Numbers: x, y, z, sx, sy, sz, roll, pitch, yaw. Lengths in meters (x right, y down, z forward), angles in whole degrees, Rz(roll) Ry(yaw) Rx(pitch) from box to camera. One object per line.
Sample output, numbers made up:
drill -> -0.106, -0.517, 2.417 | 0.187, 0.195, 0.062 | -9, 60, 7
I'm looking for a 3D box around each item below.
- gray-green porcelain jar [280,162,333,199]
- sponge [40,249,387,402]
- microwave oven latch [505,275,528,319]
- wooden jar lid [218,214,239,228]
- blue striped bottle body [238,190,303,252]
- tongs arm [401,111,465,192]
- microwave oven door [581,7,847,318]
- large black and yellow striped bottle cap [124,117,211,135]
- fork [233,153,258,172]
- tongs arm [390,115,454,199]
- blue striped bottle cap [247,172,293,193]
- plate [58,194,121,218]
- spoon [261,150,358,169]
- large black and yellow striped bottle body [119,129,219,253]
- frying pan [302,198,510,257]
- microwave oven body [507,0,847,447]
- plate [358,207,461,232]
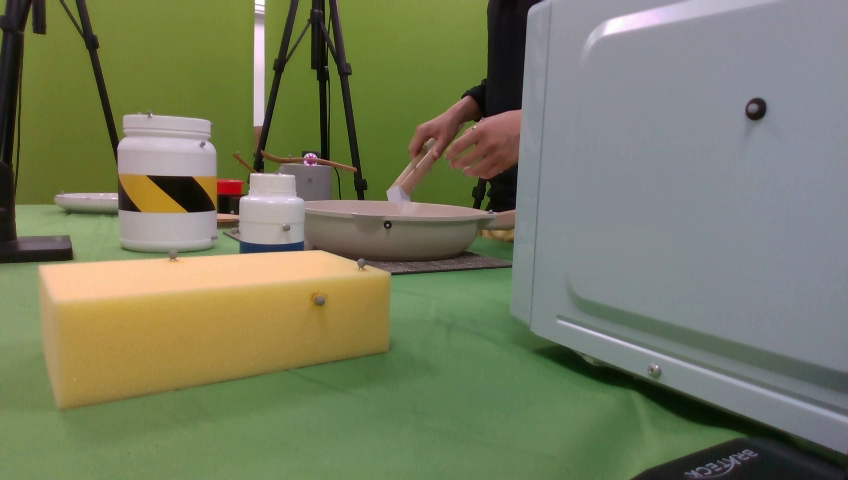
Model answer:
gray-green porcelain jar -> -0.238, -0.092, 1.221 | 0.106, 0.126, 0.106 | 2, 7, 0
sponge -> -0.142, 0.047, 0.420 | 0.208, 0.061, 0.117 | -3, 8, -36
microwave oven latch -> 0.100, 0.041, 0.471 | 0.079, 0.029, 0.030 | -1, 7, -28
wooden jar lid -> -0.404, -0.037, 1.169 | 0.108, 0.020, 0.108 | 3, 7, 0
blue striped bottle body -> -0.153, -0.007, 0.606 | 0.063, 0.120, 0.063 | 2, 8, 0
tongs arm -> 0.020, -0.200, 1.316 | 0.050, 0.026, 0.385 | -28, 18, 38
microwave oven door -> 0.295, -0.067, 0.570 | 0.358, 0.243, 0.039 | -3, 9, -31
large black and yellow striped bottle cap -> -0.366, -0.163, 0.866 | 0.115, 0.019, 0.115 | 3, 7, 0
fork -> -0.396, -0.144, 1.486 | 0.028, 0.018, 0.208 | 20, -26, 45
tongs arm -> 0.004, -0.191, 1.328 | 0.028, 0.028, 0.388 | -34, 15, 35
blue striped bottle cap -> -0.152, -0.057, 0.598 | 0.044, 0.020, 0.044 | 3, 7, 0
plate -> -0.671, -0.074, 1.310 | 0.209, 0.038, 0.209 | 2, 8, 0
spoon -> -0.229, -0.162, 1.222 | 0.194, 0.021, 0.041 | 3, 3, -16
large black and yellow striped bottle body -> -0.367, -0.080, 0.876 | 0.131, 0.184, 0.130 | 1, 7, 0
frying pan -> 0.050, -0.035, 0.916 | 0.487, 0.102, 0.307 | -5, 7, 10
microwave oven body -> 0.331, -0.042, 0.425 | 0.444, 0.260, 0.324 | -2, 8, -31
plate -> -0.030, -0.041, 1.213 | 0.208, 0.039, 0.207 | 3, 6, 0
